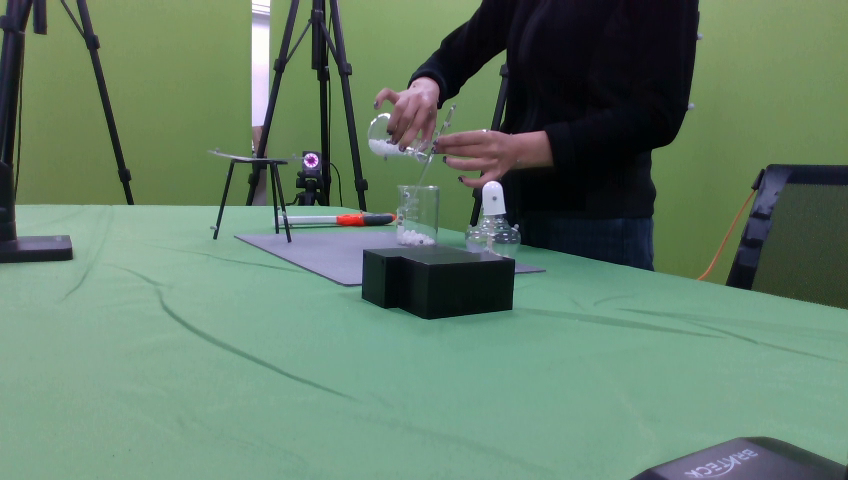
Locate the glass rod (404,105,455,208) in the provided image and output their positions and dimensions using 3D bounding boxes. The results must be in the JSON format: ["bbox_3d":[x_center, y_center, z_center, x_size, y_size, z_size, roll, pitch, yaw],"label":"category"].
[{"bbox_3d":[0.007,-0.131,0.975,0.008,0.199,0.008,19,33,-13],"label":"glass rod"}]

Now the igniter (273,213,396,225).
[{"bbox_3d":[-0.178,-0.044,1.258,0.278,0.025,0.057,-3,-1,-39],"label":"igniter"}]

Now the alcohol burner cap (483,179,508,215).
[{"bbox_3d":[0.094,-0.057,0.810,0.034,0.048,0.034,-7,6,1],"label":"alcohol burner cap"}]

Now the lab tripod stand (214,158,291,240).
[{"bbox_3d":[-0.268,-0.068,1.002,0.148,0.131,0.148,3,6,0],"label":"lab tripod stand"}]

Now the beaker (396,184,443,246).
[{"bbox_3d":[-0.011,-0.043,1.005,0.083,0.100,0.074,8,9,38],"label":"beaker"}]

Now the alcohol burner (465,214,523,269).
[{"bbox_3d":[0.094,-0.022,0.815,0.078,0.119,0.078,0,7,0],"label":"alcohol burner"}]

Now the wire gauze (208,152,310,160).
[{"bbox_3d":[-0.270,-0.135,0.993,0.124,0.011,0.122,9,8,41],"label":"wire gauze"}]

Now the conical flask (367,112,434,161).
[{"bbox_3d":[-0.035,-0.167,1.019,0.076,0.075,0.121,-4,24,-42],"label":"conical flask"}]
